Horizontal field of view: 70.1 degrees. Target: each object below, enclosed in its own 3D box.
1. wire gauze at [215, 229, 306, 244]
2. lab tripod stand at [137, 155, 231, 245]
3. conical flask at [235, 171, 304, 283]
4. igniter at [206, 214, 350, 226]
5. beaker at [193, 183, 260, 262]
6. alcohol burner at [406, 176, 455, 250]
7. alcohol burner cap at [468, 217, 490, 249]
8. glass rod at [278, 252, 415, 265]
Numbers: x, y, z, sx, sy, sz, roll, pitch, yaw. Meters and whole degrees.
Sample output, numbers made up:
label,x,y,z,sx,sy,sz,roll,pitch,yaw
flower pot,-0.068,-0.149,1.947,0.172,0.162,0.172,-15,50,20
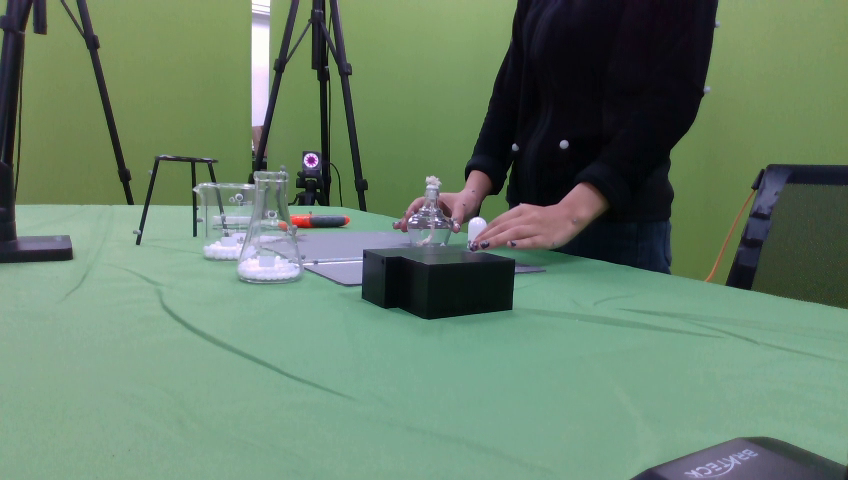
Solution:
label,x,y,z,sx,sy,sz,roll,pitch,yaw
wire gauze,-0.273,-0.009,1.013,0.122,0.011,0.124,-2,9,-33
lab tripod stand,-0.358,-0.061,0.927,0.148,0.131,0.148,4,6,0
conical flask,-0.172,-0.016,0.677,0.075,0.122,0.075,2,7,0
igniter,-0.279,-0.038,1.185,0.278,0.025,0.057,-2,-1,-30
beaker,-0.262,-0.025,0.806,0.084,0.100,0.073,-3,9,-30
alcohol burner,0.012,-0.044,0.963,0.078,0.119,0.078,4,6,0
alcohol burner cap,0.080,-0.010,0.882,0.034,0.048,0.034,-2,5,0
glass rod,-0.097,0.024,0.805,0.201,0.008,0.008,-3,8,-33
